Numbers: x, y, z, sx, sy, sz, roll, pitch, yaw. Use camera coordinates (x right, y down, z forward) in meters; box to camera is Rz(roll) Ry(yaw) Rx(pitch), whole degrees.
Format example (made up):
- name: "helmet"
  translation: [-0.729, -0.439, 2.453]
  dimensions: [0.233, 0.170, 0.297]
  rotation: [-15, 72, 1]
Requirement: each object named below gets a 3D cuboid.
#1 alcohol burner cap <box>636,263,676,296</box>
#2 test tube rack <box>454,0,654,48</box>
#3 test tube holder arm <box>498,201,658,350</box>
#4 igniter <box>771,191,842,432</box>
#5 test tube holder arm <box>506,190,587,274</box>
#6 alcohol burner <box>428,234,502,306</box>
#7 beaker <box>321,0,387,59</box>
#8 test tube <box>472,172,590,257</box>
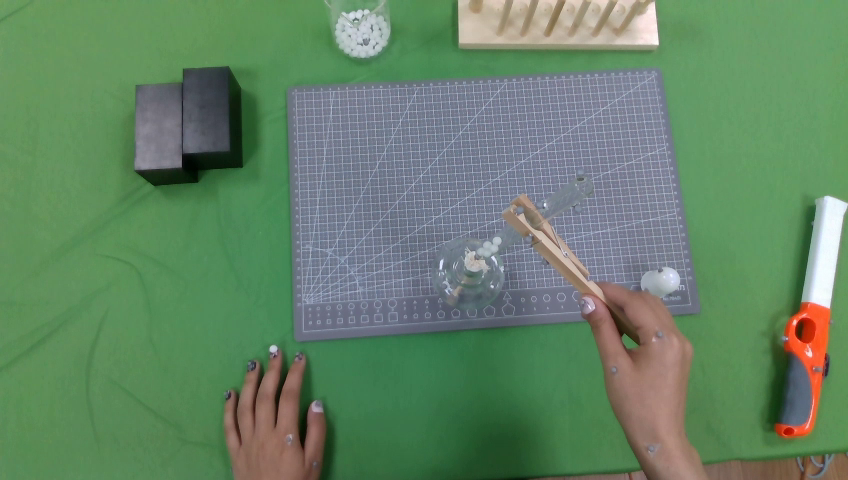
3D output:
- name: "alcohol burner cap"
  translation: [0.257, 0.042, 0.664]
  dimensions: [0.034, 0.048, 0.033]
  rotation: [1, 77, -2]
- name: "test tube rack"
  translation: [0.159, -0.278, 0.709]
  dimensions: [0.242, 0.085, 0.066]
  rotation: [0, 78, -2]
- name: "test tube holder arm"
  translation: [0.128, 0.032, 0.493]
  dimensions: [0.179, 0.015, 0.013]
  rotation: [43, 57, -11]
- name: "igniter"
  translation: [0.427, 0.078, 0.673]
  dimensions: [0.057, 0.025, 0.275]
  rotation: [19, 78, -8]
- name: "test tube holder arm"
  translation: [0.099, -0.003, 0.488]
  dimensions: [0.088, 0.015, 0.010]
  rotation: [50, 56, -7]
- name: "alcohol burner"
  translation: [0.044, 0.027, 0.623]
  dimensions: [0.078, 0.119, 0.077]
  rotation: [1, 76, -3]
- name: "beaker"
  translation: [-0.078, -0.258, 0.689]
  dimensions: [0.074, 0.100, 0.083]
  rotation: [-1, 78, -2]
- name: "test tube"
  translation: [0.079, -0.015, 0.486]
  dimensions: [0.017, 0.150, 0.017]
  rotation: [10, 65, -23]
